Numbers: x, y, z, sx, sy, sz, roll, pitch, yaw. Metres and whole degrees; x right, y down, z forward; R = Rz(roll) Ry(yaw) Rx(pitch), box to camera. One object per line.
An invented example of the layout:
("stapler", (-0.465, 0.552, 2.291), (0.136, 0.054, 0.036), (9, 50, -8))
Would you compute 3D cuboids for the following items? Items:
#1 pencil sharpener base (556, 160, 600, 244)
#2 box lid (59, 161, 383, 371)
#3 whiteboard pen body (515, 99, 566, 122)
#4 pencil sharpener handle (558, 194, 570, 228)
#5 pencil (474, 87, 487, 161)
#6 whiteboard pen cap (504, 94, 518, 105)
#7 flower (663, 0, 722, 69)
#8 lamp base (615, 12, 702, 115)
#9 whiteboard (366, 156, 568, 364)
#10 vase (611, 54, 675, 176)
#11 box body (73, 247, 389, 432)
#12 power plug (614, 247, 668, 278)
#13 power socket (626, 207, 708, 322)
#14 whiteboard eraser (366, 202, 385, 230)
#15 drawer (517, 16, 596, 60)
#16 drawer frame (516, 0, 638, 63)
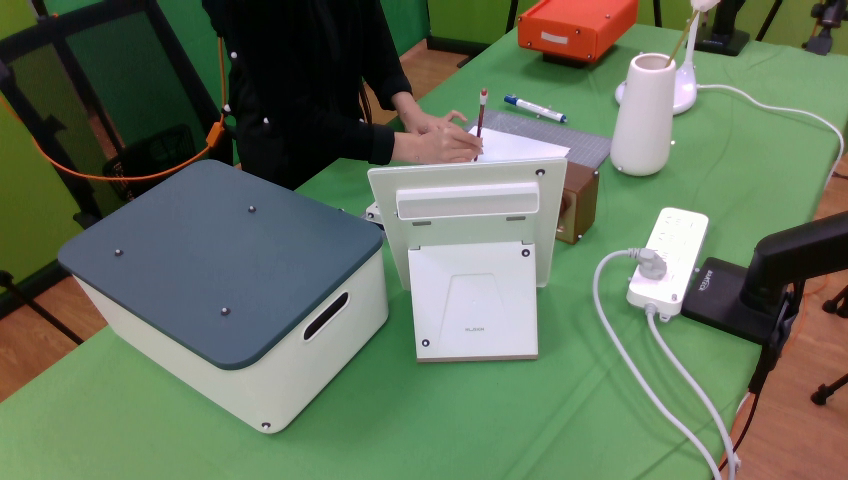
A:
("pencil sharpener base", (0.228, -0.057, 0.945), (0.061, 0.107, 0.077), (24, 50, 31))
("box lid", (-0.262, 0.009, 0.777), (0.369, 0.015, 0.264), (21, 48, 29))
("whiteboard pen body", (0.234, -0.274, 1.262), (0.139, 0.017, 0.017), (28, 51, 29))
("pencil sharpener handle", (0.195, -0.038, 0.908), (0.035, 0.068, 0.031), (24, 50, 30))
("pencil", (0.096, -0.192, 1.054), (0.012, 0.194, 0.012), (0, 58, 0))
("whiteboard pen cap", (0.190, -0.299, 1.292), (0.033, 0.018, 0.018), (30, 52, 28))
("flower", (0.379, -0.261, 0.965), (0.044, 0.362, 0.038), (20, 53, 5))
("lamp base", (0.484, -0.363, 1.211), (0.180, 0.181, 0.159), (-15, 41, -14))
("whiteboard", (0.059, 0.050, 0.738), (0.217, 0.307, 0.143), (-2, 60, 6))
("vase", (0.377, -0.209, 1.031), (0.098, 0.201, 0.097), (-3, 40, 3))
("box body", (-0.255, 0.065, 0.827), (0.361, 0.161, 0.255), (21, 48, 29))
("power plug", (0.306, 0.031, 0.851), (0.072, 0.053, 0.035), (24, 49, 33))
("power socket", (0.359, 0.026, 0.886), (0.072, 0.033, 0.227), (16, 46, 26))
("whiteboard eraser", (-0.037, -0.038, 1.006), (0.112, 0.042, 0.055), (16, 47, 25))
("drawer", (0.352, -0.506, 1.405), (0.193, 0.073, 0.212), (23, 49, 32))
("drawer frame", (0.355, -0.508, 1.411), (0.200, 0.083, 0.214), (23, 51, 32))
